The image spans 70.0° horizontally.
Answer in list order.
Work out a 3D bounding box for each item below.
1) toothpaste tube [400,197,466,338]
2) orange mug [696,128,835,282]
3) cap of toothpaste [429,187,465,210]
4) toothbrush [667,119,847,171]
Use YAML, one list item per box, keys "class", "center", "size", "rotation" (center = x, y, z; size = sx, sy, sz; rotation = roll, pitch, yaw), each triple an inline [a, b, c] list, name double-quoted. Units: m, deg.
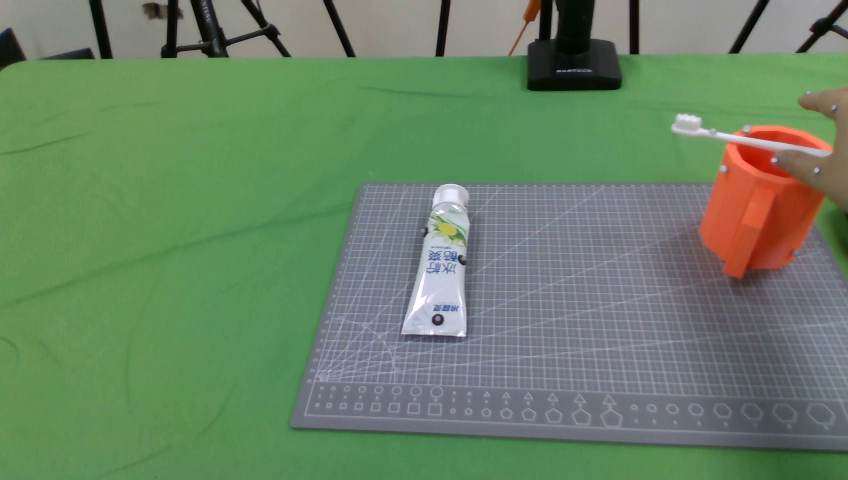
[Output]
- class: "toothpaste tube"
  center: [0.013, 0.019, 0.552]
  size: [0.055, 0.035, 0.163]
  rotation: [-3, 46, 10]
- class: "orange mug"
  center: [0.286, -0.025, 0.521]
  size: [0.083, 0.102, 0.126]
  rotation: [22, 45, 27]
- class: "cap of toothpaste"
  center: [0.023, -0.037, 0.603]
  size: [0.037, 0.038, 0.011]
  rotation: [4, 49, 9]
- class: "toothbrush"
  center: [0.294, -0.075, 0.496]
  size: [0.181, 0.017, 0.014]
  rotation: [18, 41, 23]
